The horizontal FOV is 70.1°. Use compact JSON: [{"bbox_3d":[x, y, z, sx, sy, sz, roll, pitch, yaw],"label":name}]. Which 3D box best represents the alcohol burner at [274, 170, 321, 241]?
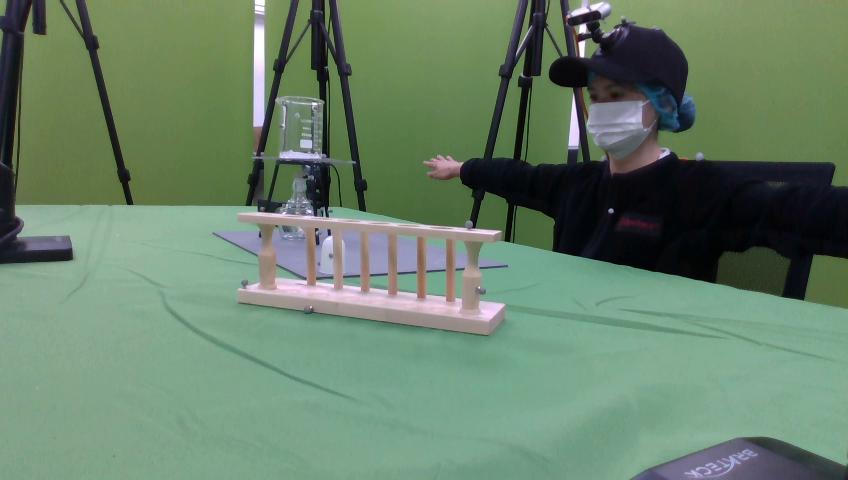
[{"bbox_3d":[-0.212,-0.058,1.015,0.078,0.119,0.078,4,6,0],"label":"alcohol burner"}]

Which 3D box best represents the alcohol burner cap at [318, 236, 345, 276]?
[{"bbox_3d":[-0.110,0.019,0.723,0.034,0.048,0.034,3,6,0],"label":"alcohol burner cap"}]

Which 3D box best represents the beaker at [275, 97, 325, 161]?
[{"bbox_3d":[-0.204,-0.179,0.989,0.084,0.100,0.073,-2,8,-40],"label":"beaker"}]

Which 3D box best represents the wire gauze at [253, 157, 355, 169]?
[{"bbox_3d":[-0.197,-0.131,0.999,0.121,0.011,0.125,7,5,21],"label":"wire gauze"}]

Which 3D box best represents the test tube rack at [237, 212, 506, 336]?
[{"bbox_3d":[-0.049,0.024,0.552,0.242,0.085,0.067,5,8,18],"label":"test tube rack"}]

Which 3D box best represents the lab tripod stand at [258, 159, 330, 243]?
[{"bbox_3d":[-0.202,-0.067,1.010,0.148,0.131,0.148,2,5,0],"label":"lab tripod stand"}]
